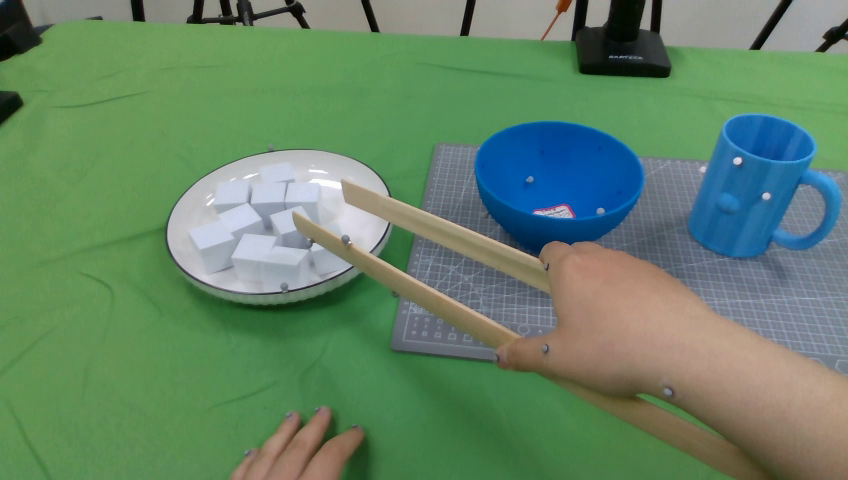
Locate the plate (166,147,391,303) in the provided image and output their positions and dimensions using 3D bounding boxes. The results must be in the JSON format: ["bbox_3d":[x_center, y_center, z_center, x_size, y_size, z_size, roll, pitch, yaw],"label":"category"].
[{"bbox_3d":[-0.133,-0.015,0.576,0.209,0.038,0.207,0,44,0],"label":"plate"}]

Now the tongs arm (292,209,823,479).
[{"bbox_3d":[0.044,0.045,0.402,0.381,0.027,0.051,28,48,37],"label":"tongs arm"}]

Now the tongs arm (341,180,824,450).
[{"bbox_3d":[0.066,0.028,0.421,0.384,0.028,0.028,27,44,36],"label":"tongs arm"}]

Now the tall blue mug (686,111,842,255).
[{"bbox_3d":[0.308,-0.047,0.547,0.107,0.109,0.077,13,45,15],"label":"tall blue mug"}]

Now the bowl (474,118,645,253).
[{"bbox_3d":[0.120,-0.041,0.566,0.151,0.077,0.150,0,43,1],"label":"bowl"}]
